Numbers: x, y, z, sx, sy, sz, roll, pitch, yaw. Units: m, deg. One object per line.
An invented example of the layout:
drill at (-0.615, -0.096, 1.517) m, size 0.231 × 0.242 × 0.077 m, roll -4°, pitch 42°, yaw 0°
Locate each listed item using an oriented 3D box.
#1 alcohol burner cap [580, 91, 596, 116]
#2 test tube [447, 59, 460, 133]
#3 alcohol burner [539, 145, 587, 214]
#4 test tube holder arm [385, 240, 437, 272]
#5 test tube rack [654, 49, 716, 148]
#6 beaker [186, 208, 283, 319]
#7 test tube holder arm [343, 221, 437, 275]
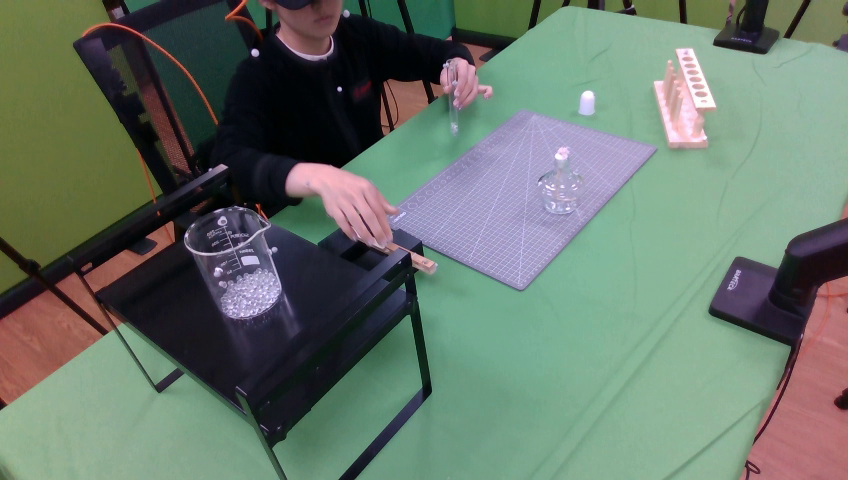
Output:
alcohol burner cap at (0.338, -0.283, 1.238) m, size 0.034 × 0.048 × 0.033 m, roll -5°, pitch 42°, yaw 4°
test tube at (0.055, -0.258, 1.100) m, size 0.017 × 0.151 × 0.017 m, roll -3°, pitch 46°, yaw 4°
alcohol burner at (0.226, -0.102, 0.986) m, size 0.078 × 0.119 × 0.077 m, roll -6°, pitch 41°, yaw 6°
test tube holder arm at (-0.020, 0.022, 0.873) m, size 0.087 × 0.010 × 0.015 m, roll 25°, pitch 56°, yaw 31°
test tube rack at (0.502, -0.281, 1.176) m, size 0.066 × 0.085 × 0.241 m, roll 1°, pitch 41°, yaw 11°
beaker at (-0.192, 0.026, 0.637) m, size 0.084 × 0.101 × 0.073 m, roll -13°, pitch 41°, yaw -7°
test tube holder arm at (-0.054, 0.010, 0.900) m, size 0.177 × 0.013 × 0.015 m, roll 26°, pitch 57°, yaw 31°
